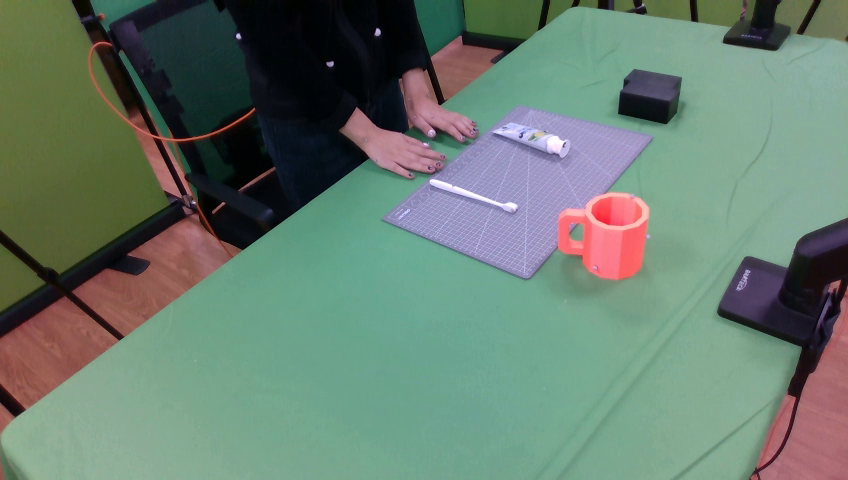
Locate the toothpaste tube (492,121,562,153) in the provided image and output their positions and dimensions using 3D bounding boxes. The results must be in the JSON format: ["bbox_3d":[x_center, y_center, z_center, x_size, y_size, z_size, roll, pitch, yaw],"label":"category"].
[{"bbox_3d":[0.208,-0.203,1.174,0.055,0.034,0.163,-27,39,-30],"label":"toothpaste tube"}]

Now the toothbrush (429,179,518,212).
[{"bbox_3d":[0.084,-0.081,1.063,0.180,0.014,0.017,20,45,30],"label":"toothbrush"}]

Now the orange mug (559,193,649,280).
[{"bbox_3d":[0.261,-0.008,0.884,0.126,0.101,0.083,9,43,14],"label":"orange mug"}]

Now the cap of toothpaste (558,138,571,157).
[{"bbox_3d":[0.258,-0.171,1.118,0.011,0.037,0.037,25,52,32],"label":"cap of toothpaste"}]
